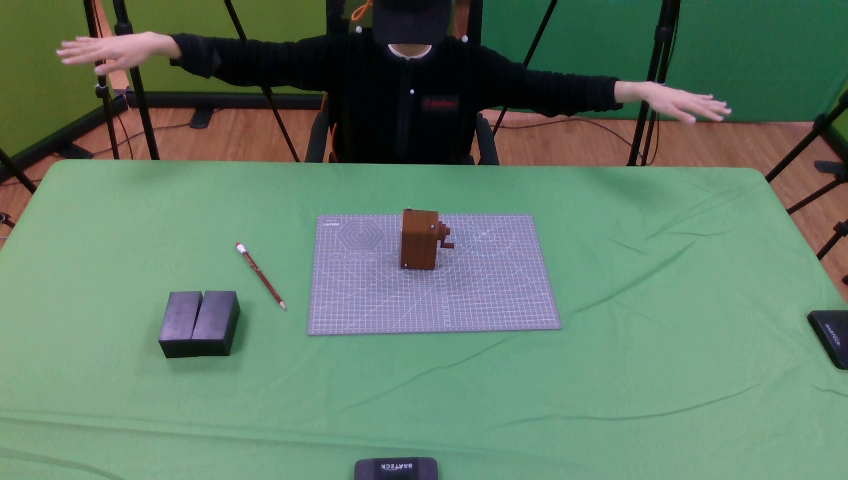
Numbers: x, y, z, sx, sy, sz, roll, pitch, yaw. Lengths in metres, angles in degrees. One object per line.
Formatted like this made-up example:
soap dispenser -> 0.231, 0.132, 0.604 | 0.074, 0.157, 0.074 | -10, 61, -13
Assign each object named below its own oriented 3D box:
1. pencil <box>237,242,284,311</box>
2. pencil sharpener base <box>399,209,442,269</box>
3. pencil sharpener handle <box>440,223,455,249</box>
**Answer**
pencil -> -0.303, 0.066, 1.122 | 0.012, 0.012, 0.193 | -26, 54, -26
pencil sharpener base -> -0.007, 0.000, 1.134 | 0.077, 0.107, 0.061 | 3, 46, -1
pencil sharpener handle -> 0.045, -0.007, 1.127 | 0.030, 0.068, 0.036 | 3, 52, -1
